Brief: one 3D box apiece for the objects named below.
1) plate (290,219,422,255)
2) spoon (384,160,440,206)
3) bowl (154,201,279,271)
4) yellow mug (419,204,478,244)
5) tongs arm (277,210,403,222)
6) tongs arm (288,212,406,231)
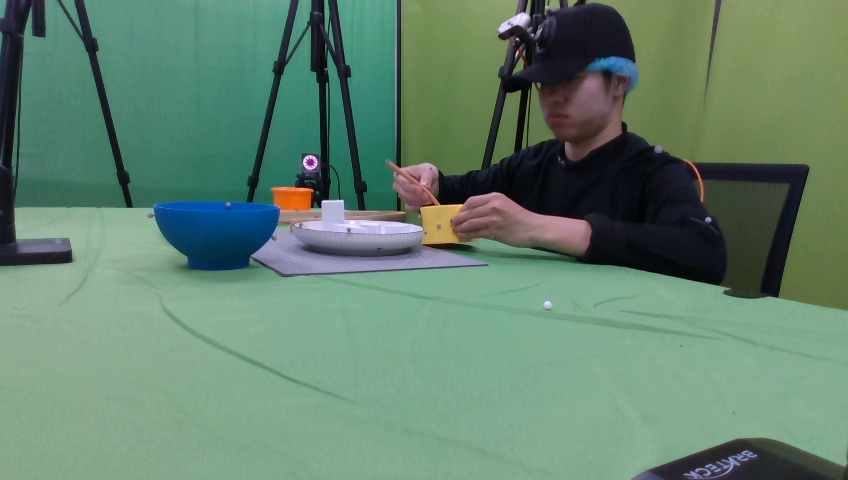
[{"bbox_3d":[-0.108,-0.005,0.963,0.208,0.039,0.207,3,7,0],"label":"plate"},{"bbox_3d":[0.005,-0.078,1.060,0.193,0.021,0.041,43,10,1],"label":"spoon"},{"bbox_3d":[-0.263,-0.005,0.773,0.151,0.077,0.151,3,8,0],"label":"bowl"},{"bbox_3d":[0.050,-0.028,1.042,0.100,0.064,0.130,-4,1,-30],"label":"yellow mug"},{"bbox_3d":[-0.206,-0.052,1.332,0.387,0.026,0.050,-2,8,-44],"label":"tongs arm"},{"bbox_3d":[-0.146,-0.040,1.280,0.028,0.028,0.389,3,5,33],"label":"tongs arm"}]
